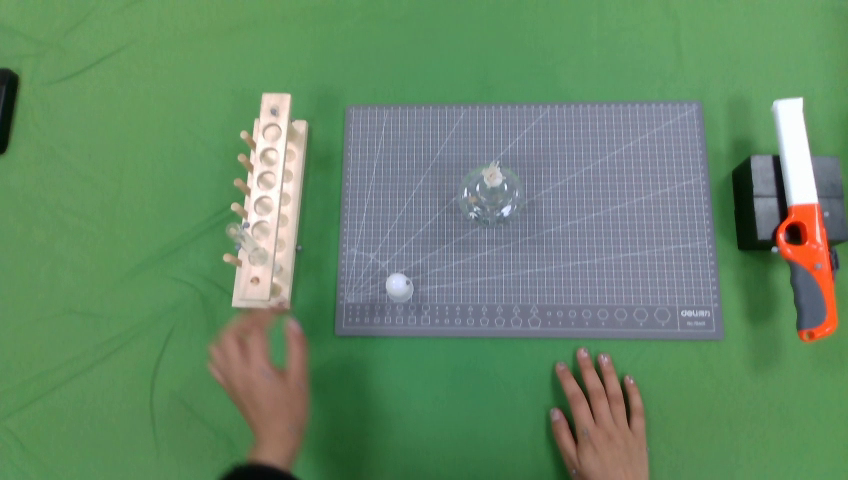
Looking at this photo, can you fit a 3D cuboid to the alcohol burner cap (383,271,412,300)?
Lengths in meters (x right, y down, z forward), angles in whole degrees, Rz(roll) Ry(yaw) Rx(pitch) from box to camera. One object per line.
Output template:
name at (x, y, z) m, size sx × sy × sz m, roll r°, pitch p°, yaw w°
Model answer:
alcohol burner cap at (-0.032, 0.051, 0.705) m, size 0.034 × 0.048 × 0.033 m, roll 0°, pitch 77°, yaw 2°

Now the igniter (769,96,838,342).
igniter at (0.414, -0.028, 0.665) m, size 0.057 × 0.025 × 0.275 m, roll -3°, pitch 76°, yaw 14°

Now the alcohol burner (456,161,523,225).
alcohol burner at (0.075, -0.058, 0.688) m, size 0.078 × 0.119 × 0.077 m, roll -1°, pitch 78°, yaw 4°

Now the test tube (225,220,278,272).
test tube at (-0.182, 0.010, 0.651) m, size 0.017 × 0.151 × 0.017 m, roll 0°, pitch 73°, yaw 1°

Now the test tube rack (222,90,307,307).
test tube rack at (-0.192, -0.047, 0.715) m, size 0.067 × 0.085 × 0.241 m, roll 2°, pitch 77°, yaw 4°
